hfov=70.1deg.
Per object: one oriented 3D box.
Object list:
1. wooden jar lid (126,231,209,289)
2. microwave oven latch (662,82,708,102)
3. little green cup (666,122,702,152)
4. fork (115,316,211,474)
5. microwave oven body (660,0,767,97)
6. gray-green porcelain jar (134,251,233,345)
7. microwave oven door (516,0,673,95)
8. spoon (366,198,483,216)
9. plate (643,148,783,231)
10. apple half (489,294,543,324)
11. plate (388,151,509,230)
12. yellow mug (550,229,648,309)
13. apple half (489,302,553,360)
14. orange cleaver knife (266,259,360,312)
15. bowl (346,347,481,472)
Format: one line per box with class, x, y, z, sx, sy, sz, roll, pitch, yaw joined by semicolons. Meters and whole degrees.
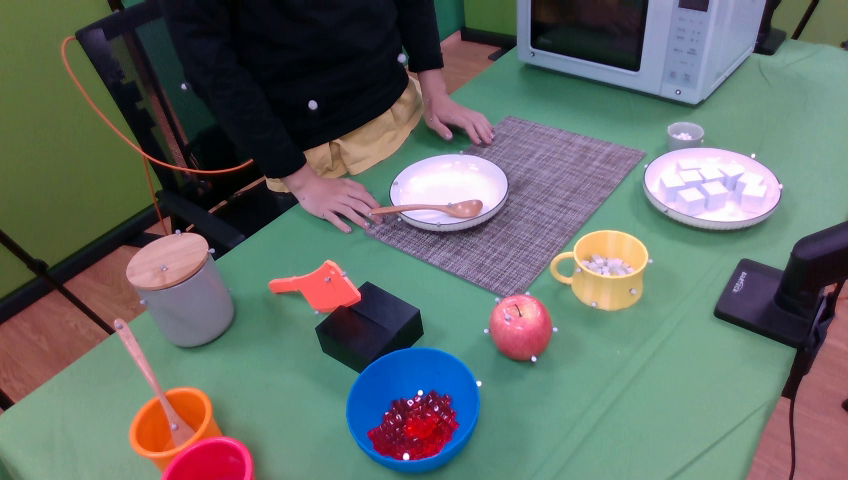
wooden jar lid;-0.340;0.030;0.809;0.108;0.021;0.108;-5;39;5
microwave oven latch;0.517;-0.298;1.202;0.078;0.029;0.030;27;52;34
little green cup;0.471;-0.184;1.102;0.061;0.039;0.061;-5;41;5
fork;-0.308;0.179;0.708;0.028;0.018;0.207;-30;89;-15
microwave oven body;0.473;-0.516;1.313;0.438;0.261;0.327;26;51;34
gray-green porcelain jar;-0.334;0.076;0.849;0.106;0.127;0.105;-4;41;4
microwave oven door;0.344;-0.458;1.256;0.353;0.245;0.039;26;51;33
spoon;0.002;-0.055;0.996;0.194;0.022;0.041;-1;45;-10
plate;0.464;-0.080;0.986;0.207;0.039;0.206;-4;41;4
apple half;0.120;0.098;0.800;0.081;0.081;0.032;-10;44;-4
plate;0.044;-0.082;1.042;0.209;0.038;0.208;-4;40;4
yellow mug;0.245;0.040;0.857;0.130;0.064;0.099;1;42;11
apple half;0.127;0.123;0.772;0.081;0.075;0.053;-8;44;-6
orange cleaver knife;-0.161;0.070;0.859;0.210;0.077;0.012;-13;22;49
bowl;-0.008;0.205;0.691;0.151;0.077;0.150;-4;40;4
